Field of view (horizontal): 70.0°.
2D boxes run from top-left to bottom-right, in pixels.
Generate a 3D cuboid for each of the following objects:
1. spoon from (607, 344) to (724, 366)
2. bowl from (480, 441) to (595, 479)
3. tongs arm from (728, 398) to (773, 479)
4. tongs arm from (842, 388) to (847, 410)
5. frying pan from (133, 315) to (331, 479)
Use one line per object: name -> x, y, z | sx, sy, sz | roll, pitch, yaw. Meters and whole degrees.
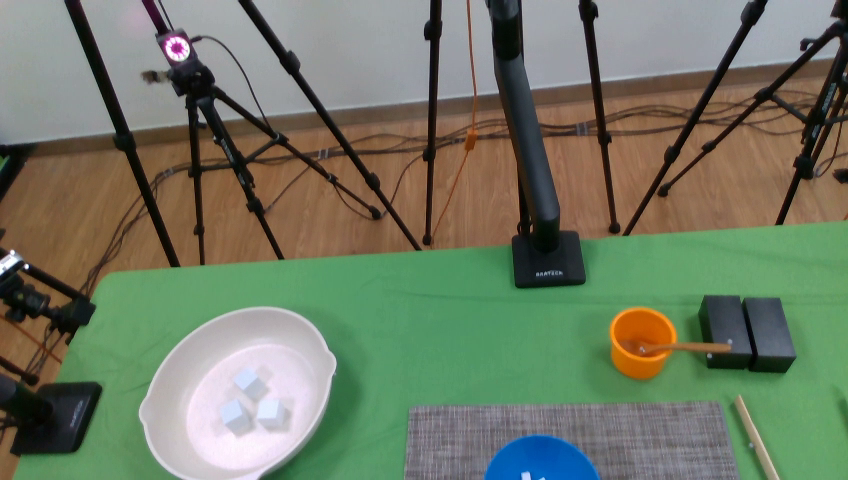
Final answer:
spoon -> 0.334, 0.160, 0.856 | 0.022, 0.193, 0.041 | 49, 62, -8
bowl -> 0.147, 0.345, 0.778 | 0.151, 0.077, 0.150 | -5, 50, 6
tongs arm -> 0.467, 0.371, 0.735 | 0.028, 0.028, 0.383 | -11, 49, -1
tongs arm -> 0.547, 0.360, 0.724 | 0.050, 0.027, 0.381 | -3, 51, 10
frying pan -> -0.269, 0.321, 0.864 | 0.307, 0.104, 0.482 | -14, 41, 0
